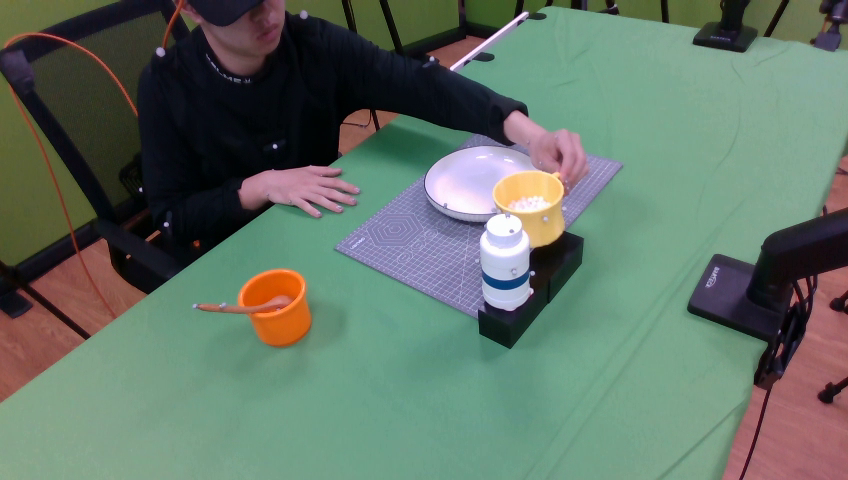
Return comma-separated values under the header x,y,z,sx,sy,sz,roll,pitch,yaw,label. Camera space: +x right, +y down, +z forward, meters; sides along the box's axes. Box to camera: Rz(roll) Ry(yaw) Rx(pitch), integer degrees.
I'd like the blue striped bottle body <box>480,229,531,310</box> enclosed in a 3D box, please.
x,y,z,sx,sy,sz,roll,pitch,yaw,label
0.104,0.027,0.768,0.063,0.121,0.063,-4,41,4,blue striped bottle body

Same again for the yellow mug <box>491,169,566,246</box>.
x,y,z,sx,sy,sz,roll,pitch,yaw,label
0.159,-0.056,0.866,0.131,0.064,0.099,-35,46,-26,yellow mug

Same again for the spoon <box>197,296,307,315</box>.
x,y,z,sx,sy,sz,roll,pitch,yaw,label
-0.220,0.088,0.792,0.041,0.021,0.195,20,7,25,spoon

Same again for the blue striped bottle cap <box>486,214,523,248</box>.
x,y,z,sx,sy,sz,roll,pitch,yaw,label
0.098,-0.011,0.735,0.044,0.021,0.044,-3,39,3,blue striped bottle cap

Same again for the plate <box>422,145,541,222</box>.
x,y,z,sx,sy,sz,roll,pitch,yaw,label
0.101,-0.094,1.048,0.207,0.039,0.206,-4,41,4,plate
